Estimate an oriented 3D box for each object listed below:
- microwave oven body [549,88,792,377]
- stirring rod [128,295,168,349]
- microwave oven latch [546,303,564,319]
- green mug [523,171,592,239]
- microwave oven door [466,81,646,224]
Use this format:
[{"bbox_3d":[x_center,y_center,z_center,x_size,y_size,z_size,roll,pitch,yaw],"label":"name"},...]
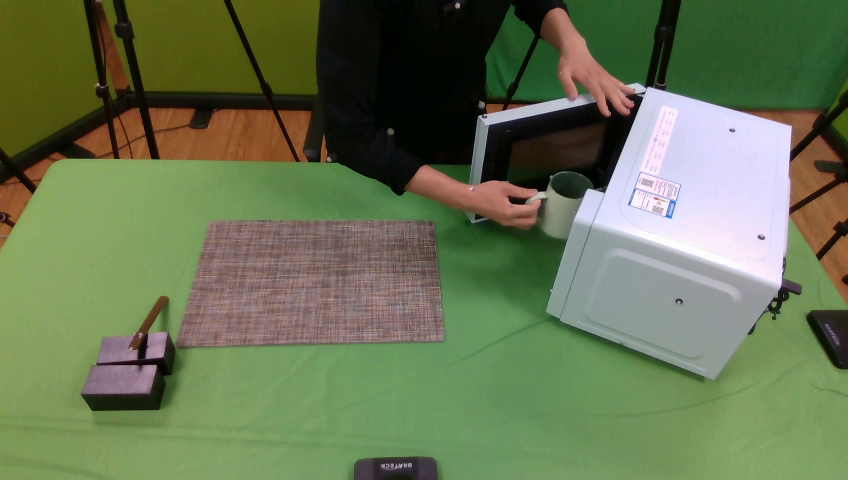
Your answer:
[{"bbox_3d":[0.456,-0.028,1.088,0.325,0.261,0.440,20,47,16],"label":"microwave oven body"},{"bbox_3d":[-0.451,0.131,0.996,0.014,0.006,0.175,9,21,-10],"label":"stirring rod"},{"bbox_3d":[0.242,0.102,1.081,0.030,0.029,0.079,21,48,17],"label":"microwave oven latch"},{"bbox_3d":[0.245,-0.062,1.119,0.125,0.105,0.092,-5,47,-6],"label":"green mug"},{"bbox_3d":[0.260,-0.174,1.205,0.356,0.245,0.039,-16,48,-18],"label":"microwave oven door"}]
